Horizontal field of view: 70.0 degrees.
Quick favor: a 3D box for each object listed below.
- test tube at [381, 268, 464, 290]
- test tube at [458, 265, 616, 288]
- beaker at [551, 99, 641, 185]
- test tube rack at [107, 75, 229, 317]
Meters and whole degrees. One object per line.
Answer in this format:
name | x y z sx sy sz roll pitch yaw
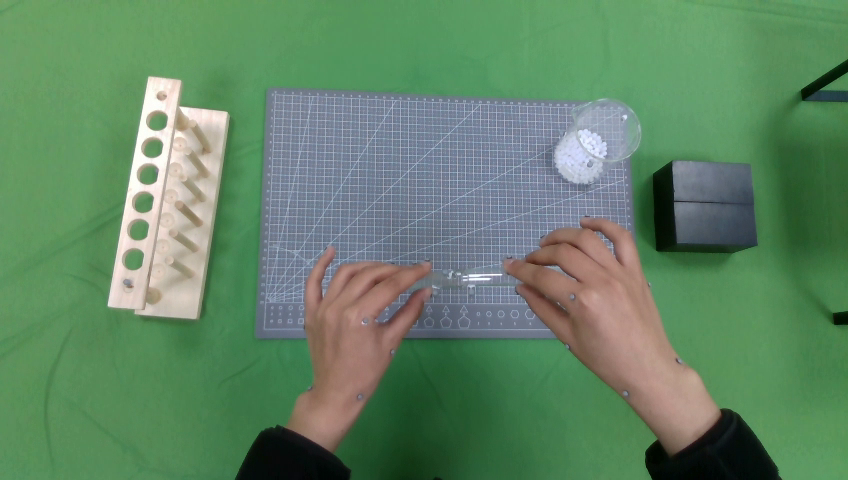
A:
test tube | -0.006 0.038 0.566 0.017 0.149 0.017 3 83 -27
test tube | 0.100 0.030 0.518 0.151 0.017 0.017 0 78 -20
beaker | 0.193 -0.112 0.709 0.084 0.100 0.074 32 77 2
test tube rack | -0.270 -0.044 0.654 0.067 0.085 0.241 6 79 -5
